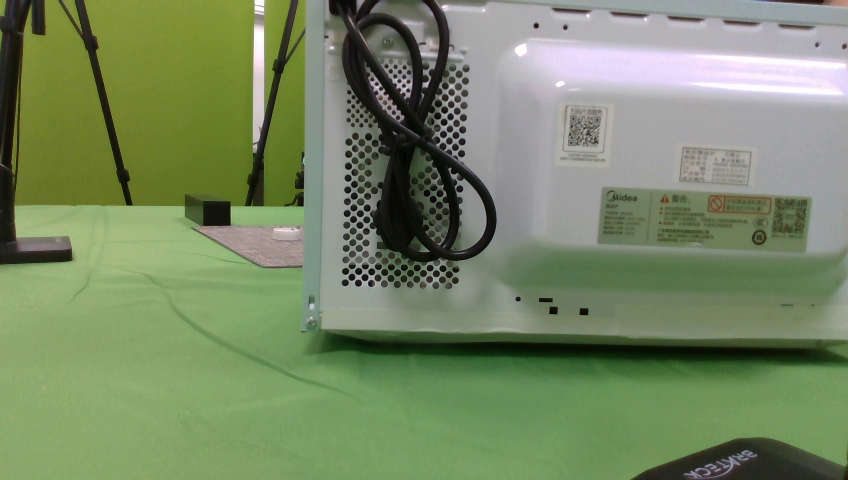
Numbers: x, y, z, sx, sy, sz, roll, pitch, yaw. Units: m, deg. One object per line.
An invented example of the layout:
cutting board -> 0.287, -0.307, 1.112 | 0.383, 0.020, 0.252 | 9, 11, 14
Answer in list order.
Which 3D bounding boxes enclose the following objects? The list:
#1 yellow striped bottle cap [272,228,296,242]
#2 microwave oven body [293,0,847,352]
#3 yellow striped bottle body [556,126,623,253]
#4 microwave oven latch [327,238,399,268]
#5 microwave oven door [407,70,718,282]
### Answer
yellow striped bottle cap -> -0.232, -0.008, 1.012 | 0.044, 0.018, 0.044 | 4, 8, 0
microwave oven body -> 0.122, -0.055, 0.550 | 0.442, 0.260, 0.325 | 3, 7, -5
yellow striped bottle body -> 0.160, -0.049, 0.587 | 0.063, 0.120, 0.063 | 0, 4, 0
microwave oven latch -> -0.069, 0.015, 0.694 | 0.079, 0.029, 0.030 | 3, 7, -3
microwave oven door -> 0.159, -0.083, 0.745 | 0.355, 0.243, 0.039 | 4, 8, 11
